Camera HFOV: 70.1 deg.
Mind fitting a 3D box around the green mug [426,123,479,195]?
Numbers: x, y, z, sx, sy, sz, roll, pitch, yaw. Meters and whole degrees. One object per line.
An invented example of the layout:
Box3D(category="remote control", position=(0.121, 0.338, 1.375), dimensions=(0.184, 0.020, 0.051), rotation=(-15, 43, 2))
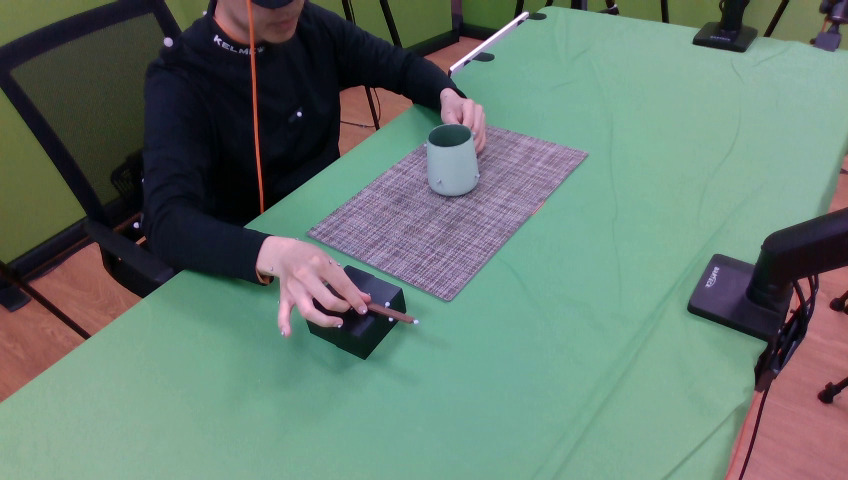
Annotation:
Box3D(category="green mug", position=(0.053, -0.151, 1.067), dimensions=(0.092, 0.105, 0.125), rotation=(5, 42, 14))

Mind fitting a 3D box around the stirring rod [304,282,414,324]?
Box3D(category="stirring rod", position=(-0.090, 0.084, 0.818), dimensions=(0.175, 0.006, 0.014), rotation=(16, 29, 25))
